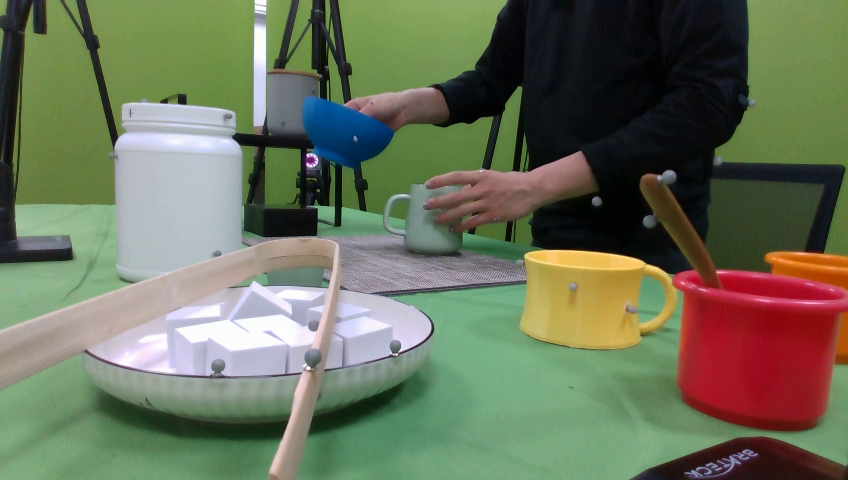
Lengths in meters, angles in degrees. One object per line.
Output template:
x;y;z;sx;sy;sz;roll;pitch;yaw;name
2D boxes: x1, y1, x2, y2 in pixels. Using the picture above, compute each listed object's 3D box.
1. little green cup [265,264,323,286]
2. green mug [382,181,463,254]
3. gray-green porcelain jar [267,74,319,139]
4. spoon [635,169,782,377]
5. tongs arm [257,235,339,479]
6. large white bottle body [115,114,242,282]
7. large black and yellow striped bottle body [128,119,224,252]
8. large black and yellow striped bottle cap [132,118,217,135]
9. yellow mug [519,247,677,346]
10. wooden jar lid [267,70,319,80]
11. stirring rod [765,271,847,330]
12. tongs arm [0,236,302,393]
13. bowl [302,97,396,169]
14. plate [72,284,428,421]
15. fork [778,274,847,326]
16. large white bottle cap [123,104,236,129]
-0.134;0.033;0.628;0.061;0.038;0.061;3;7;0;little green cup
-0.001;-0.035;0.922;0.126;0.105;0.092;0;8;-16;green mug
-0.277;-0.279;1.280;0.106;0.126;0.106;2;8;0;gray-green porcelain jar
0.161;0.026;0.346;0.021;0.194;0.041;-51;32;-19;spoon
-0.074;0.040;0.345;0.051;0.026;0.384;-1;10;-3;tongs arm
-0.270;-0.051;0.673;0.131;0.184;0.130;2;8;0;large white bottle body
-0.361;-0.081;0.887;0.131;0.184;0.130;2;8;0;large black and yellow striped bottle body
-0.359;-0.164;0.875;0.115;0.019;0.115;2;6;0;large black and yellow striped bottle cap
0.148;0.045;0.513;0.131;0.064;0.100;3;7;0;yellow mug
-0.275;-0.339;1.271;0.108;0.020;0.108;5;6;0;wooden jar lid
0.352;0.020;0.481;0.176;0.006;0.014;-40;-8;17;stirring rod
-0.157;0.038;0.347;0.028;0.028;0.388;-3;8;11;tongs arm
-0.129;-0.161;0.957;0.151;0.077;0.151;19;2;0;bowl
-0.102;0.067;0.381;0.208;0.039;0.207;3;7;0;plate
0.332;0.019;0.443;0.028;0.018;0.207;-3;-35;-16;fork
-0.266;-0.134;0.663;0.115;0.018;0.115;3;7;0;large white bottle cap
